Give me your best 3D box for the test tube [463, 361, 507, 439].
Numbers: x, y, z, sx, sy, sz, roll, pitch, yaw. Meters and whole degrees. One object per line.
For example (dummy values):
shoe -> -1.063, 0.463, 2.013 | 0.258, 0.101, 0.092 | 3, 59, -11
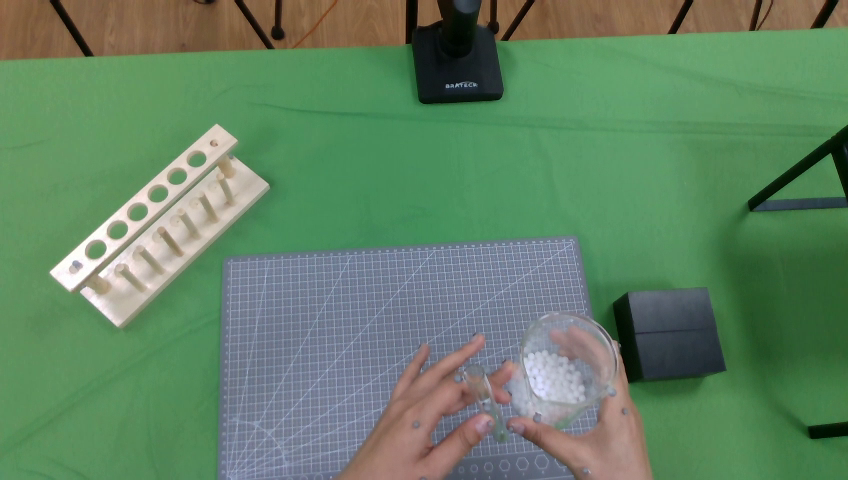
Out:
test tube -> 0.050, 0.129, 0.475 | 0.017, 0.152, 0.017 | -7, 56, 11

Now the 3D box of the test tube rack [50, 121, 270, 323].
test tube rack -> -0.297, -0.021, 0.710 | 0.066, 0.085, 0.242 | 39, 71, 10

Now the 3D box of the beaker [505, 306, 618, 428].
beaker -> 0.104, 0.111, 0.493 | 0.073, 0.101, 0.084 | 37, 67, 18
